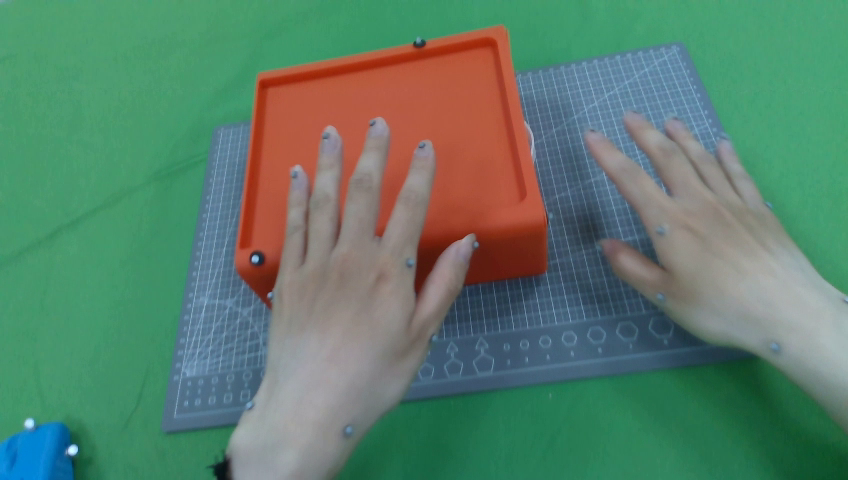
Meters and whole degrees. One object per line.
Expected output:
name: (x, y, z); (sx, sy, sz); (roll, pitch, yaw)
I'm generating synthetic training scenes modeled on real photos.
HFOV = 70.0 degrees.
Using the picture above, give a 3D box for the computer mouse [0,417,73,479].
computer mouse: (-0.273, 0.177, 0.407); (0.063, 0.041, 0.116); (-25, 52, -2)

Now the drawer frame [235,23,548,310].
drawer frame: (-0.023, -0.059, 0.475); (0.213, 0.083, 0.199); (-10, 57, 7)

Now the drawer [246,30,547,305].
drawer: (-0.020, -0.058, 0.476); (0.211, 0.074, 0.192); (-9, 57, 7)
